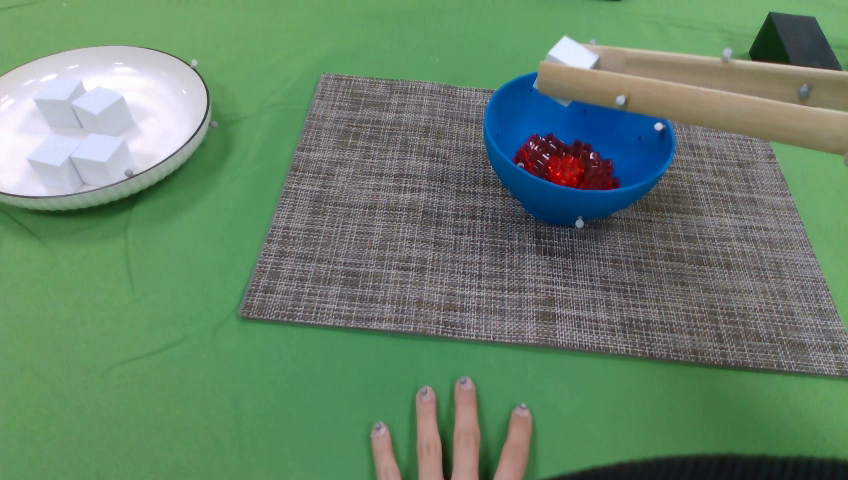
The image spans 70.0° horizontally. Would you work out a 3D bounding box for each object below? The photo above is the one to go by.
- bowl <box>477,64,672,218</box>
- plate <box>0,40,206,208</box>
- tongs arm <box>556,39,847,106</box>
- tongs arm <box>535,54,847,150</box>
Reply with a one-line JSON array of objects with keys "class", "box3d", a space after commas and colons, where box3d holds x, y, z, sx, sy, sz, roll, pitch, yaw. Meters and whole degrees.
[{"class": "bowl", "box3d": [0.115, -0.071, 0.504, 0.151, 0.077, 0.150, 2, 51, -2]}, {"class": "plate", "box3d": [-0.298, -0.102, 0.532, 0.209, 0.038, 0.207, 2, 51, -2]}, {"class": "tongs arm", "box3d": [0.250, -0.083, 0.359, 0.382, 0.027, 0.050, 17, 45, 29]}, {"class": "tongs arm", "box3d": [0.236, -0.070, 0.346, 0.384, 0.028, 0.028, 20, 43, 32]}]
